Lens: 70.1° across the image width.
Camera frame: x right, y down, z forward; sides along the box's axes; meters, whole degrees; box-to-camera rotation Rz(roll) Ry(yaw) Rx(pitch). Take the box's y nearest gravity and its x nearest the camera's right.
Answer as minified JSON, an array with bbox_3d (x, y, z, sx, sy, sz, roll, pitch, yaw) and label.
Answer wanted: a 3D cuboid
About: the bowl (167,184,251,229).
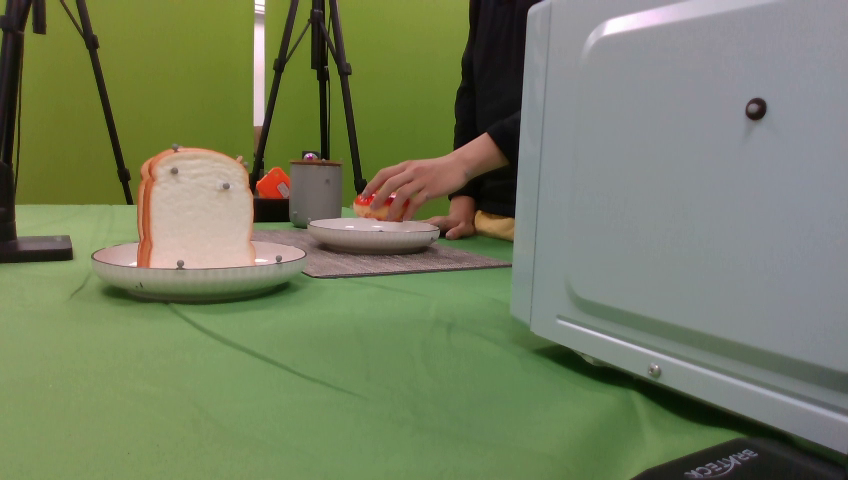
[{"bbox_3d":[-0.408,-0.064,1.154,0.151,0.077,0.151,2,8,0],"label":"bowl"}]

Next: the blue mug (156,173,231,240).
[{"bbox_3d":[-0.381,-0.057,1.004,0.117,0.106,0.082,0,8,-12],"label":"blue mug"}]

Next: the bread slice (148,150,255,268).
[{"bbox_3d":[-0.230,-0.024,0.618,0.107,0.134,0.018,-8,10,-34],"label":"bread slice"}]

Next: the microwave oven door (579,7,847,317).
[{"bbox_3d":[0.294,-0.067,0.570,0.358,0.243,0.039,-3,9,-31],"label":"microwave oven door"}]

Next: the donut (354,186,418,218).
[{"bbox_3d":[-0.059,-0.058,0.947,0.099,0.048,0.099,3,11,0],"label":"donut"}]

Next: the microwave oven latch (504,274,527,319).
[{"bbox_3d":[0.100,0.041,0.471,0.079,0.029,0.030,-1,8,-28],"label":"microwave oven latch"}]

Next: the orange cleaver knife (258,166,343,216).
[{"bbox_3d":[-0.276,-0.090,1.369,0.212,0.077,0.012,33,-11,-34],"label":"orange cleaver knife"}]

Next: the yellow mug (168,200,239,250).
[{"bbox_3d":[-0.320,-0.023,0.904,0.130,0.064,0.100,9,11,36],"label":"yellow mug"}]

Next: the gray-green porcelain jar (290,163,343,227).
[{"bbox_3d":[-0.217,-0.091,1.221,0.106,0.126,0.106,2,7,0],"label":"gray-green porcelain jar"}]

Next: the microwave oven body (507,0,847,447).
[{"bbox_3d":[0.331,-0.042,0.425,0.444,0.260,0.324,-2,8,-31],"label":"microwave oven body"}]

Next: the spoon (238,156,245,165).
[{"bbox_3d":[-0.477,-0.145,1.492,0.041,0.022,0.193,-1,51,13],"label":"spoon"}]

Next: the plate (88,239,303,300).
[{"bbox_3d":[-0.233,0.029,0.636,0.208,0.039,0.207,2,7,0],"label":"plate"}]

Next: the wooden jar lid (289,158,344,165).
[{"bbox_3d":[-0.215,-0.153,1.212,0.108,0.020,0.108,2,5,0],"label":"wooden jar lid"}]

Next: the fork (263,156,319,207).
[{"bbox_3d":[-0.331,-0.144,1.505,0.207,0.018,0.028,-42,-21,22],"label":"fork"}]

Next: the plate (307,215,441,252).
[{"bbox_3d":[-0.078,-0.011,0.954,0.209,0.038,0.209,2,7,0],"label":"plate"}]

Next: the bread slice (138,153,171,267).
[{"bbox_3d":[-0.256,-0.029,0.660,0.105,0.131,0.019,-1,0,-36],"label":"bread slice"}]
